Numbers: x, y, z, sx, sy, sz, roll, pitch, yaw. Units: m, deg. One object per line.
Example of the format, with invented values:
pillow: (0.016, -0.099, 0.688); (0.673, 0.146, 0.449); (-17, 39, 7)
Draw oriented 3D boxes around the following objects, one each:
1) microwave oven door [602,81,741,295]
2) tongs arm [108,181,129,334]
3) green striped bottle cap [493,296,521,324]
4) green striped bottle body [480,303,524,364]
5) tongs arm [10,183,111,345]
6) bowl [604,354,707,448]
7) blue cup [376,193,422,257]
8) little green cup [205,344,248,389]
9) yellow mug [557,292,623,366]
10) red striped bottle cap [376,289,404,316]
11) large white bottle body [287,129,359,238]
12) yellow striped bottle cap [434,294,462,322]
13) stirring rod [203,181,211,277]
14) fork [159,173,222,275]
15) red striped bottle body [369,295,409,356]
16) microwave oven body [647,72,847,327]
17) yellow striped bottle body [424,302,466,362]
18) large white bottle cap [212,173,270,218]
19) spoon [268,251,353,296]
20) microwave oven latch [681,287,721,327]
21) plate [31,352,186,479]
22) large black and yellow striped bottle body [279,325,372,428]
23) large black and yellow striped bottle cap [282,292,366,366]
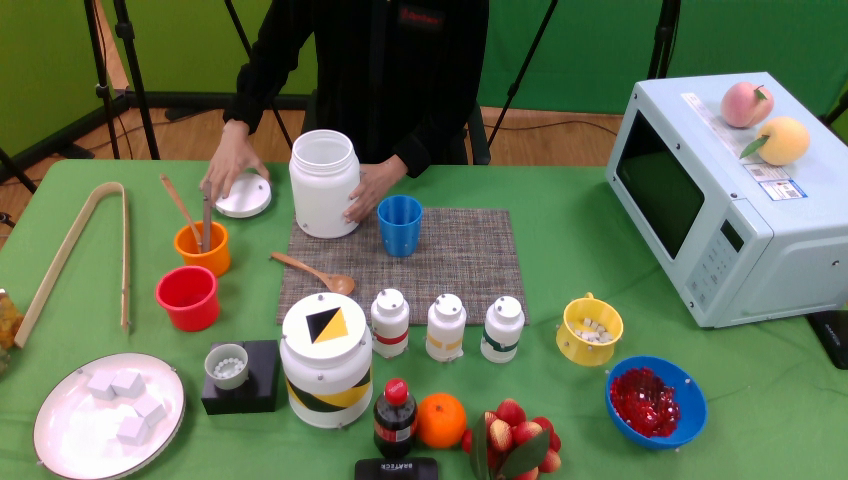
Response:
microwave oven door: (0.456, -0.107, 1.162); (0.039, 0.245, 0.353); (-7, 47, -11)
tongs arm: (-0.571, 0.019, 1.123); (0.051, 0.026, 0.382); (-10, 47, -12)
green striped bottle cap: (0.133, 0.111, 0.962); (0.044, 0.020, 0.044); (2, 47, -2)
green striped bottle body: (0.129, 0.147, 1.000); (0.063, 0.120, 0.063); (2, 46, -2)
tongs arm: (-0.658, 0.027, 1.109); (0.028, 0.028, 0.385); (-2, 45, 2)
bowl: (0.346, 0.261, 0.937); (0.151, 0.077, 0.150); (2, 46, -2)
blue cup: (-0.047, -0.021, 1.155); (0.093, 0.101, 0.092); (1, 46, -1)
little green cup: (-0.294, 0.191, 0.909); (0.061, 0.039, 0.061); (1, 47, -1)
yellow mug: (0.285, 0.145, 1.051); (0.100, 0.064, 0.130); (7, 45, 4)
red striped bottle cap: (-0.054, 0.098, 0.958); (0.044, 0.018, 0.044); (0, 48, 1)
large white bottle body: (-0.192, -0.108, 1.167); (0.131, 0.185, 0.130); (2, 47, -2)
yellow striped bottle cap: (0.038, 0.107, 0.958); (0.044, 0.019, 0.044); (2, 45, -2)
stirring rod: (-0.396, -0.021, 1.107); (0.014, 0.006, 0.176); (-1, 89, -1)
fork: (-0.427, -0.029, 1.103); (0.028, 0.018, 0.207); (-31, 99, -33)
red striped bottle body: (-0.059, 0.134, 0.997); (0.063, 0.120, 0.062); (5, 47, -5)
microwave oven body: (0.607, -0.089, 1.164); (0.326, 0.261, 0.438); (-7, 46, -10)
yellow striped bottle body: (0.035, 0.143, 0.995); (0.063, 0.121, 0.062); (3, 46, -3)
large white bottle cap: (-0.374, -0.092, 1.239); (0.115, 0.018, 0.114); (3, 51, -4)
spoon: (-0.212, 0.057, 1.121); (0.193, 0.022, 0.041); (24, 74, 18)
microwave oven latch: (0.494, 0.119, 1.087); (0.030, 0.029, 0.078); (-6, 46, -9)
plate: (-0.459, 0.262, 0.898); (0.209, 0.038, 0.208); (2, 46, -2)
large black and yellow striped bottle body: (-0.143, 0.181, 0.900); (0.131, 0.185, 0.130); (2, 46, -2)
large black and yellow striped bottle cap: (-0.138, 0.121, 0.841); (0.115, 0.019, 0.114); (3, 47, -3)
